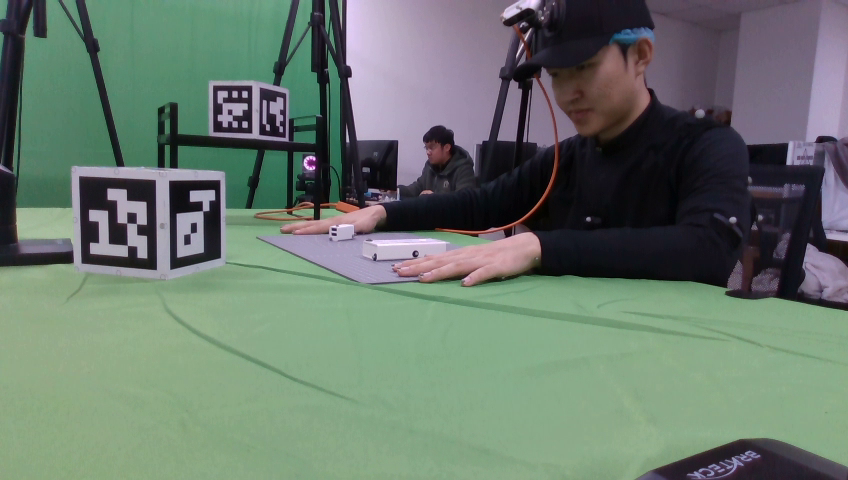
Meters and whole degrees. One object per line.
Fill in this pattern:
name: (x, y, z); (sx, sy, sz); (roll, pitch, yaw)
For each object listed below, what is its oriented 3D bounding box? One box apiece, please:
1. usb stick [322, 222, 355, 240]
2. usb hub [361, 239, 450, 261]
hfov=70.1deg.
usb stick: (-0.151, -0.016, 1.059); (0.059, 0.027, 0.021); (-5, -16, -46)
usb hub: (-0.027, 0.013, 0.894); (0.126, 0.025, 0.049); (-1, 8, -32)
